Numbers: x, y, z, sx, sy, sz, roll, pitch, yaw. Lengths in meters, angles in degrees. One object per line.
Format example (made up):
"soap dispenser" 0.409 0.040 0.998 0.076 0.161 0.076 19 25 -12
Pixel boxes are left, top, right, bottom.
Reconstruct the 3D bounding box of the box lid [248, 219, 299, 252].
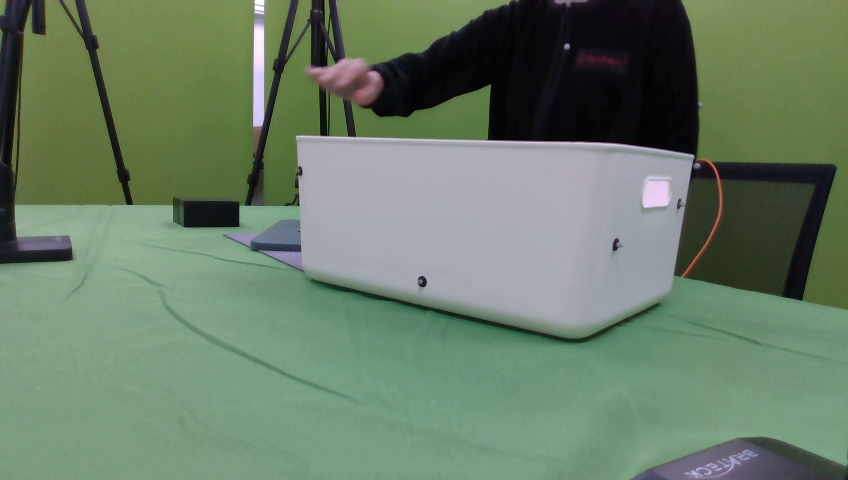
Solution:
"box lid" -0.146 -0.008 1.066 0.264 0.015 0.371 3 7 -6

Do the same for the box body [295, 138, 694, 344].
"box body" 0.065 -0.020 0.653 0.362 0.160 0.255 9 9 36

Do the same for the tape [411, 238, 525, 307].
"tape" 0.044 0.031 0.629 0.117 0.052 0.117 3 8 0
